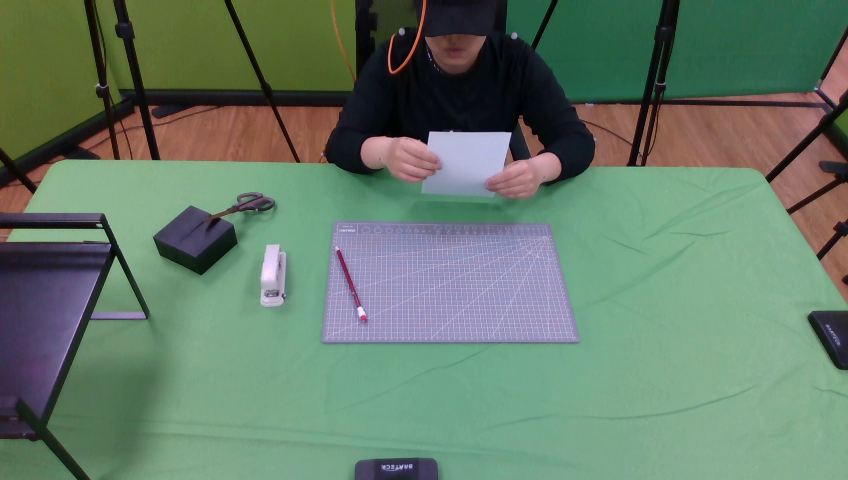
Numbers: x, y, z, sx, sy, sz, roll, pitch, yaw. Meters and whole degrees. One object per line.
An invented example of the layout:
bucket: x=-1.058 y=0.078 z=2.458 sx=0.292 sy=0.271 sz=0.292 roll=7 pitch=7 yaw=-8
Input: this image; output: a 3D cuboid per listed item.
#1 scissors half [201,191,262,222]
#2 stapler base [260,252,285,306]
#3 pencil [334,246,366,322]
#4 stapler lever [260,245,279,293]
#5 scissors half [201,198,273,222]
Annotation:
scissors half: x=-0.381 y=-0.066 z=1.198 sx=0.040 sy=0.013 sz=0.175 roll=24 pitch=28 yaw=10
stapler base: x=-0.279 y=0.064 z=1.113 sx=0.041 sy=0.024 sz=0.129 roll=-2 pitch=44 yaw=-9
pencil: x=-0.140 y=0.077 z=1.116 sx=0.012 sy=0.012 sz=0.192 roll=-14 pitch=48 yaw=-17
stapler lever: x=-0.279 y=0.045 z=1.096 sx=0.027 sy=0.040 sz=0.117 roll=-2 pitch=44 yaw=-9
scissors half: x=-0.365 y=-0.056 z=1.192 sx=0.040 sy=0.013 sz=0.175 roll=38 pitch=32 yaw=22
